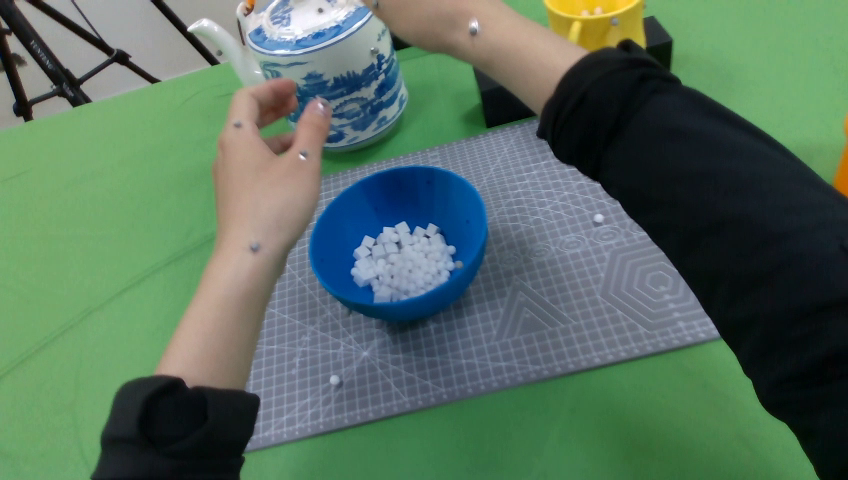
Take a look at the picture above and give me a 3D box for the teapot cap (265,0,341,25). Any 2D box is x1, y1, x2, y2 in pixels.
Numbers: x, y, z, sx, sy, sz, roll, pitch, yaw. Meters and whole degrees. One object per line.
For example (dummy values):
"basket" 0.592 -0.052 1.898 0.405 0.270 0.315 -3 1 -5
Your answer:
"teapot cap" -0.122 -0.245 0.610 0.085 0.044 0.084 -9 51 12

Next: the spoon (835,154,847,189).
"spoon" 0.401 -0.107 0.451 0.022 0.194 0.041 17 41 -28

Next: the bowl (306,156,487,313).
"bowl" -0.016 0.008 0.518 0.151 0.077 0.150 -8 50 9

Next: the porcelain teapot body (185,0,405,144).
"porcelain teapot body" -0.140 -0.217 0.644 0.205 0.228 0.143 -10 50 9

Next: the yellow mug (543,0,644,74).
"yellow mug" 0.163 -0.219 0.600 0.099 0.064 0.130 14 59 25
